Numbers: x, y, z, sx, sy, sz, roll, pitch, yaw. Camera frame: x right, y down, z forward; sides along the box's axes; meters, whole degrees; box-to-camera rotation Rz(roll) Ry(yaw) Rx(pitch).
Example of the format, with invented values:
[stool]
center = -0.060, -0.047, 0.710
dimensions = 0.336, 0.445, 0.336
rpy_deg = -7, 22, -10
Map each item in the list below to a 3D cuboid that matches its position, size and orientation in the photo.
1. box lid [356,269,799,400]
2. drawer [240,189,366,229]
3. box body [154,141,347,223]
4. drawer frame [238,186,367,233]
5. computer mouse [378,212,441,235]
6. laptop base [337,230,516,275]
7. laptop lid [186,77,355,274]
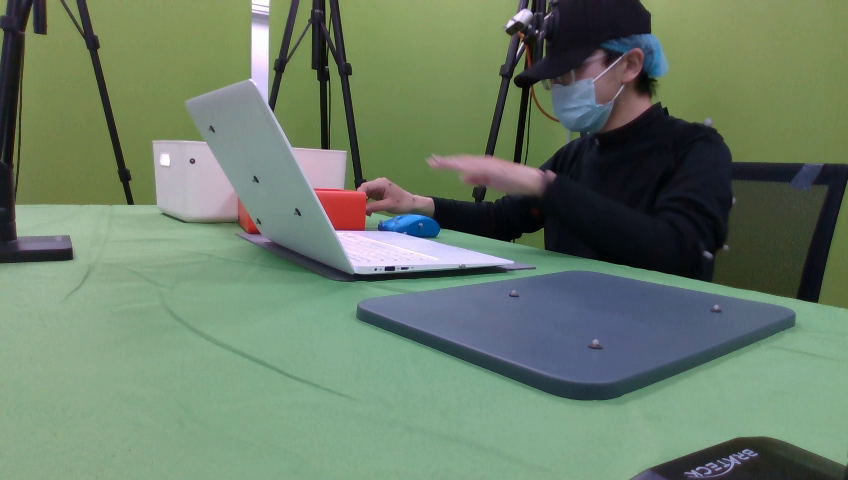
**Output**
[box lid]
center = 0.152, 0.068, 0.565
dimensions = 0.374, 0.015, 0.262
rpy_deg = -4, 10, -41
[drawer]
center = -0.235, -0.062, 1.158
dimensions = 0.213, 0.073, 0.193
rpy_deg = -1, 7, -22
[box body]
center = -0.384, -0.132, 1.346
dimensions = 0.366, 0.160, 0.253
rpy_deg = -3, 9, -36
[drawer frame]
center = -0.237, -0.063, 1.158
dimensions = 0.214, 0.082, 0.201
rpy_deg = -1, 8, -23
[computer mouse]
center = -0.026, -0.030, 1.141
dimensions = 0.118, 0.041, 0.062
rpy_deg = -4, 12, -34
[laptop base]
center = -0.065, 0.014, 0.877
dimensions = 0.237, 0.023, 0.352
rpy_deg = 1, 7, -32
[laptop lid]
center = -0.211, -0.081, 0.772
dimensions = 0.013, 0.242, 0.355
rpy_deg = -35, 25, -23
